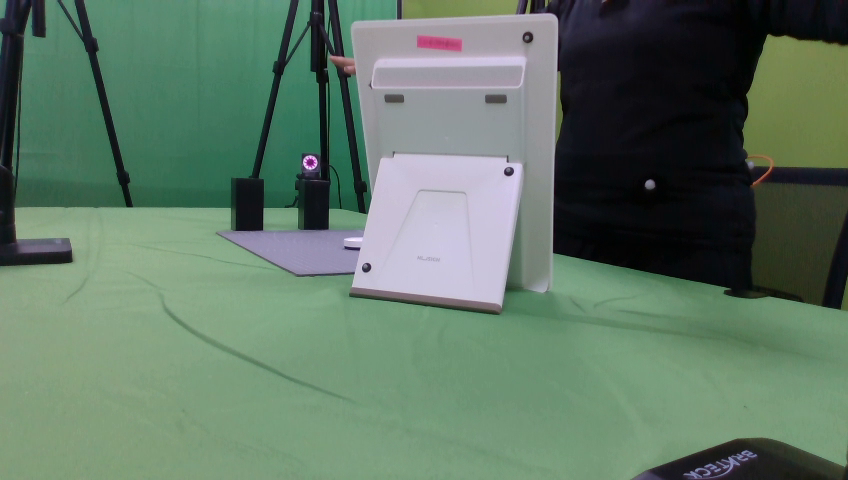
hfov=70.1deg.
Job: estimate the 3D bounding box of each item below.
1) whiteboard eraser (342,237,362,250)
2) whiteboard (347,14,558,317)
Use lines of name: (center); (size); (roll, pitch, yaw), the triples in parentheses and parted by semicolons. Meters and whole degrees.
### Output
whiteboard eraser: (-0.082, 0.004, 0.968); (0.102, 0.019, 0.041); (-1, 7, -31)
whiteboard: (0.012, -0.056, 0.609); (0.216, 0.305, 0.144); (5, 27, 20)
